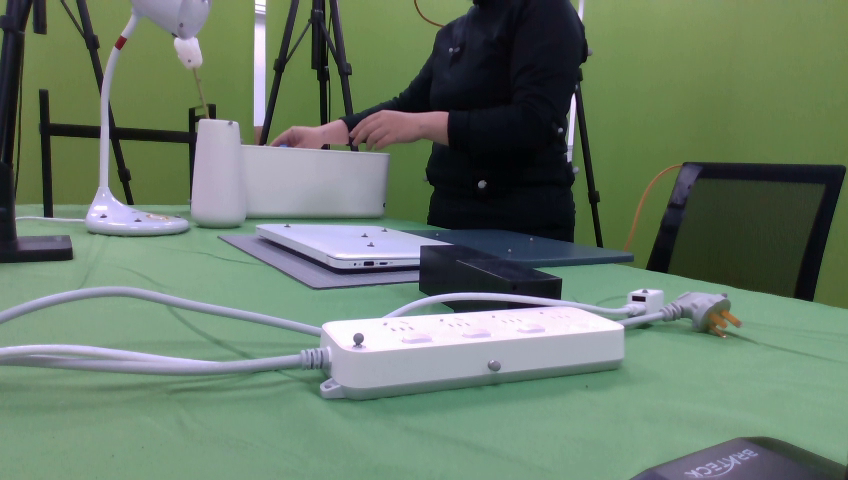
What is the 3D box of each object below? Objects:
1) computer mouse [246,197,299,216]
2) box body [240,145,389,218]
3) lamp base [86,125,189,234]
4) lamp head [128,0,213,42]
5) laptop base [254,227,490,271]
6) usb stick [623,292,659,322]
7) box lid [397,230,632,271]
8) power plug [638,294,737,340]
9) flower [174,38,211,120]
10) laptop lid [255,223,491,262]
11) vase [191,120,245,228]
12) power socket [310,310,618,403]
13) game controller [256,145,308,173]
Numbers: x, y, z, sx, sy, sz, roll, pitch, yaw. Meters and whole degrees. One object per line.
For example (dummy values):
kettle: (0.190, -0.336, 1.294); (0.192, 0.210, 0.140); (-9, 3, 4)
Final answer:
computer mouse: (-0.346, -0.076, 1.380); (0.118, 0.041, 0.062); (-7, 14, -28)
box body: (-0.297, -0.143, 1.474); (0.366, 0.160, 0.253); (-1, 9, -30)
lamp base: (-0.497, -0.105, 1.027); (0.179, 0.180, 0.160); (1, 7, 3)
lamp head: (-0.423, -0.394, 0.980); (0.123, 0.112, 0.112); (20, 7, -3)
laptop base: (-0.096, 0.012, 0.911); (0.237, 0.023, 0.352); (2, 6, -32)
usb stick: (0.211, 0.064, 0.580); (0.021, 0.027, 0.059); (-1, -3, 36)
box lid: (0.140, 0.012, 1.045); (0.265, 0.015, 0.369); (-1, 8, -32)
power plug: (0.235, 0.077, 0.535); (0.072, 0.035, 0.052); (-34, 40, -6)
flower: (-0.401, -0.207, 1.141); (0.038, 0.361, 0.044); (-14, 3, 44)
laptop lid: (-0.093, 0.000, 0.911); (0.243, 0.013, 0.355); (1, 7, -30)
vase: (-0.389, -0.124, 1.142); (0.098, 0.200, 0.098); (3, 9, 0)
power socket: (0.033, 0.074, 0.415); (0.228, 0.032, 0.072); (-1, 7, -24)
game controller: (-0.345, -0.200, 1.460); (0.097, 0.051, 0.154); (-3, 17, -28)
